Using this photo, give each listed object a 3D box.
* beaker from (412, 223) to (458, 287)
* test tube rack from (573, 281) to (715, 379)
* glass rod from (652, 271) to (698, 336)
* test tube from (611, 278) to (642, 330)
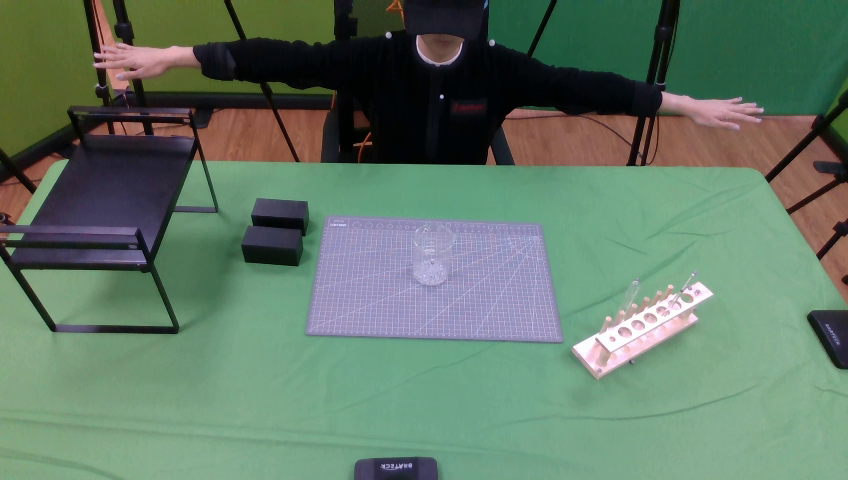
[{"bbox_3d":[0.018,0.030,1.109,0.084,0.101,0.073,-10,48,-14],"label":"beaker"},{"bbox_3d":[0.378,0.140,1.038,0.242,0.085,0.066,-22,51,-23],"label":"test tube rack"},{"bbox_3d":[0.403,0.108,0.979,0.008,0.201,0.008,1,53,-1],"label":"glass rod"},{"bbox_3d":[0.332,0.113,0.999,0.017,0.151,0.017,1,48,-1],"label":"test tube"}]
